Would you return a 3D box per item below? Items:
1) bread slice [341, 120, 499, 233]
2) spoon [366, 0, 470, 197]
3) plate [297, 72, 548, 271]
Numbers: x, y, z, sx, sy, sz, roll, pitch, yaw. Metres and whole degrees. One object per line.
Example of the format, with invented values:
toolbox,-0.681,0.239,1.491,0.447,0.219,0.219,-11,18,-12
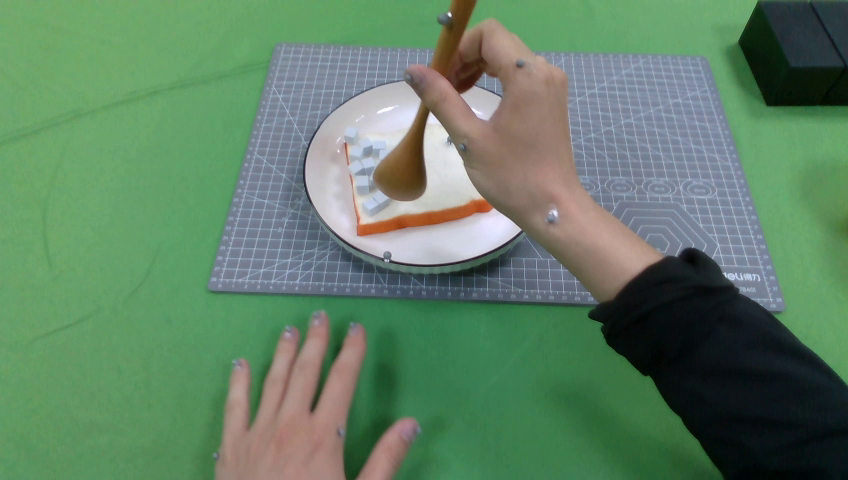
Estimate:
bread slice,-0.003,-0.062,0.522,0.132,0.019,0.104,-11,58,-6
spoon,-0.003,-0.087,0.382,0.042,0.195,0.021,20,50,-4
plate,-0.001,-0.059,0.516,0.209,0.038,0.207,1,57,0
